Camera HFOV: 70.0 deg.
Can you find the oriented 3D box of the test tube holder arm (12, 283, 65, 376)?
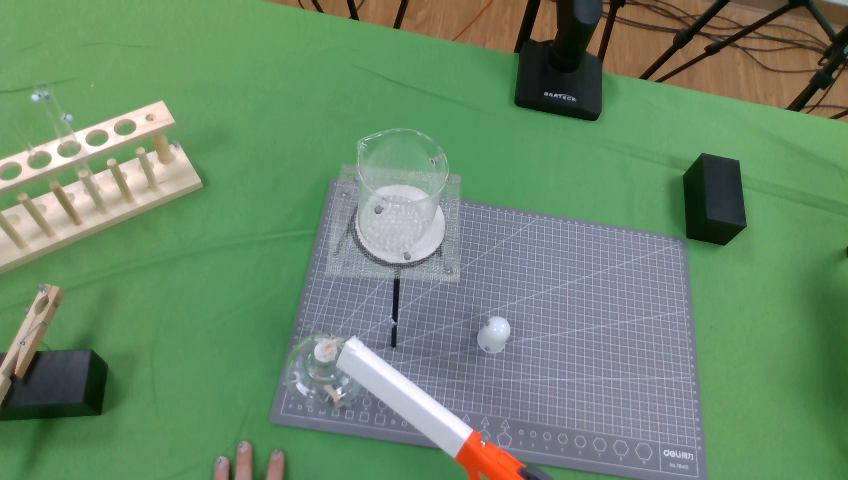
[{"bbox_3d":[-0.359,0.082,0.560,0.010,0.015,0.087,12,60,0],"label":"test tube holder arm"}]

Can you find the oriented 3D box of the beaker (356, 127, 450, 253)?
[{"bbox_3d":[-0.026,-0.040,0.527,0.083,0.101,0.074,32,63,10],"label":"beaker"}]

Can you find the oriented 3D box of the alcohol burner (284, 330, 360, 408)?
[{"bbox_3d":[-0.094,0.116,0.575,0.078,0.120,0.077,4,60,-7],"label":"alcohol burner"}]

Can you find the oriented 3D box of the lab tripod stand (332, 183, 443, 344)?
[{"bbox_3d":[-0.032,0.017,0.626,0.149,0.132,0.147,4,62,-7],"label":"lab tripod stand"}]

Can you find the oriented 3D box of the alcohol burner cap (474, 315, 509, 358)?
[{"bbox_3d":[0.074,0.101,0.649,0.034,0.048,0.033,8,44,-7],"label":"alcohol burner cap"}]

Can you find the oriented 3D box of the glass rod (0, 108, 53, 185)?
[{"bbox_3d":[-0.397,-0.099,0.592,0.008,0.201,0.008,1,55,-1],"label":"glass rod"}]

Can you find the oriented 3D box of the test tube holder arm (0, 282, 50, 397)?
[{"bbox_3d":[-0.372,0.119,0.537,0.013,0.015,0.177,12,60,0],"label":"test tube holder arm"}]

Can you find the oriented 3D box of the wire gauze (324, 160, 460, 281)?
[{"bbox_3d":[-0.027,-0.018,0.572,0.121,0.011,0.124,5,65,-4],"label":"wire gauze"}]

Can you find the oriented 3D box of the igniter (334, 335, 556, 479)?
[{"bbox_3d":[0.040,0.171,0.490,0.275,0.057,0.025,35,33,14],"label":"igniter"}]

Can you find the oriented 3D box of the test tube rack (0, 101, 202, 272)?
[{"bbox_3d":[-0.375,-0.056,0.648,0.242,0.086,0.066,-28,69,-21],"label":"test tube rack"}]

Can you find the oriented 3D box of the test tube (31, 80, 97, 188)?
[{"bbox_3d":[-0.363,-0.102,0.618,0.017,0.151,0.017,4,56,-6],"label":"test tube"}]
